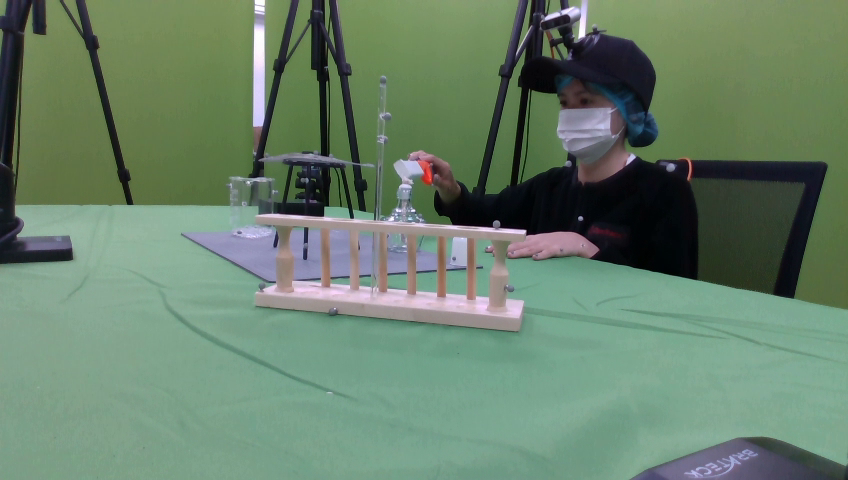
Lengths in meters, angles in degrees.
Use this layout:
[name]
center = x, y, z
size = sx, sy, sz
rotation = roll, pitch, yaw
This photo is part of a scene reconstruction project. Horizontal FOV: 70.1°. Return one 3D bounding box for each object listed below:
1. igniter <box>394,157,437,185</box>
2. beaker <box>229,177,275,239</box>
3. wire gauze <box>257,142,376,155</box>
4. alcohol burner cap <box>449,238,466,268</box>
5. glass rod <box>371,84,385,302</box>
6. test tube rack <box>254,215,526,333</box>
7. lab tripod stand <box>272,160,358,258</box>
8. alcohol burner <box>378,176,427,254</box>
[igniter]
center = -0.010, -0.123, 1.080
size = 0.025, 0.057, 0.277
rotation = -30, 0, 12
[beaker]
center = -0.292, -0.056, 1.023
size = 0.074, 0.100, 0.083
rotation = -1, 8, -26
[wire gauze]
center = -0.155, -0.130, 0.871
size = 0.124, 0.011, 0.122
rotation = -1, 7, 36
[alcohol burner cap]
center = 0.051, 0.015, 0.828
size = 0.034, 0.048, 0.034
rotation = 2, 6, 0
[glass rod]
center = -0.041, -0.041, 0.548
size = 0.008, 0.199, 0.008
rotation = 2, 2, 0
[test tube rack]
center = -0.030, 0.025, 0.558
size = 0.242, 0.085, 0.067
rotation = 4, 7, 12
[lab tripod stand]
center = -0.159, -0.048, 0.876
size = 0.148, 0.131, 0.148
rotation = 3, 5, 0
[alcohol burner]
center = -0.033, -0.039, 0.936
size = 0.078, 0.119, 0.078
rotation = 1, 6, 0
